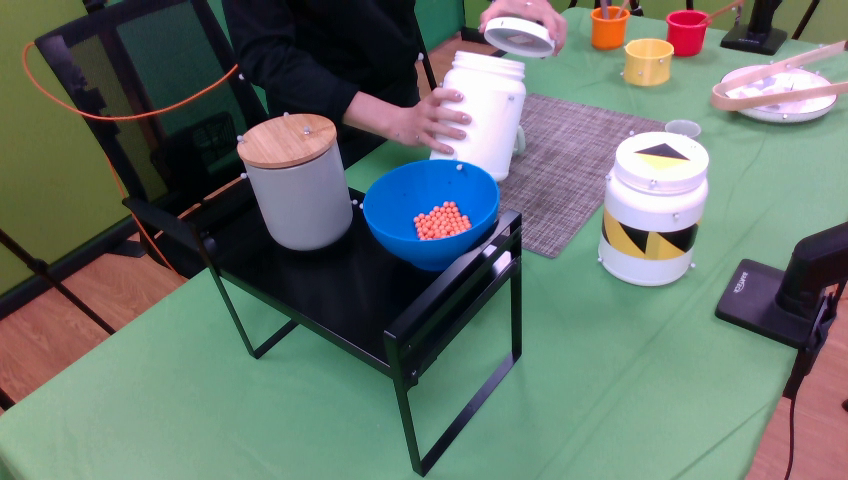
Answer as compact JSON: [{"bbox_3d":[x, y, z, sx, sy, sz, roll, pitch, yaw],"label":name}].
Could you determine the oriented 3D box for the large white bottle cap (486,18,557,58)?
[{"bbox_3d":[0.157,-0.324,0.975,0.115,0.018,0.115,16,1,0],"label":"large white bottle cap"}]

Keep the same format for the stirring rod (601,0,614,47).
[{"bbox_3d":[0.439,-0.552,1.463,0.014,0.006,0.175,-7,83,3],"label":"stirring rod"}]

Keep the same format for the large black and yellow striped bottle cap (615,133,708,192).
[{"bbox_3d":[0.313,-0.105,0.799,0.115,0.019,0.114,-5,41,5],"label":"large black and yellow striped bottle cap"}]

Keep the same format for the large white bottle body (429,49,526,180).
[{"bbox_3d":[0.087,-0.199,0.959,0.131,0.184,0.130,10,16,-2],"label":"large white bottle body"}]

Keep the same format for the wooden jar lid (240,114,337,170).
[{"bbox_3d":[-0.149,-0.106,0.673,0.108,0.021,0.108,-6,38,5],"label":"wooden jar lid"}]

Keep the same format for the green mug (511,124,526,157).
[{"bbox_3d":[0.144,-0.202,1.122,0.093,0.105,0.124,-29,45,-23],"label":"green mug"}]

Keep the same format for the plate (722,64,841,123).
[{"bbox_3d":[0.695,-0.282,1.189,0.207,0.039,0.206,-4,40,4],"label":"plate"}]

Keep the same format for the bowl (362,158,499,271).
[{"bbox_3d":[0.011,-0.019,0.679,0.151,0.077,0.150,-5,41,5],"label":"bowl"}]

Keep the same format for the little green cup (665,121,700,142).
[{"bbox_3d":[0.473,-0.188,1.113,0.061,0.039,0.061,-5,40,5],"label":"little green cup"}]

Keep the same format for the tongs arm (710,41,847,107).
[{"bbox_3d":[0.712,-0.332,1.194,0.386,0.026,0.050,-19,45,-16],"label":"tongs arm"}]

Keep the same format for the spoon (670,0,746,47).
[{"bbox_3d":[0.629,-0.485,1.350,0.022,0.193,0.042,47,54,-7],"label":"spoon"}]

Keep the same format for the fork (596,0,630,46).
[{"bbox_3d":[0.481,-0.556,1.453,0.028,0.019,0.207,40,103,38],"label":"fork"}]

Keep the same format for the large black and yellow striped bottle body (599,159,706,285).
[{"bbox_3d":[0.320,-0.042,0.854,0.131,0.185,0.130,-4,40,4],"label":"large black and yellow striped bottle body"}]

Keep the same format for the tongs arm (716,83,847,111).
[{"bbox_3d":[0.738,-0.281,1.134,0.388,0.028,0.028,-9,47,-5],"label":"tongs arm"}]

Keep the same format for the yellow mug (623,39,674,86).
[{"bbox_3d":[0.485,-0.398,1.334,0.100,0.064,0.130,-18,41,-11],"label":"yellow mug"}]

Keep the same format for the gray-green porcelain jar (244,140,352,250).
[{"bbox_3d":[-0.144,-0.060,0.714,0.106,0.127,0.105,-4,41,4],"label":"gray-green porcelain jar"}]
